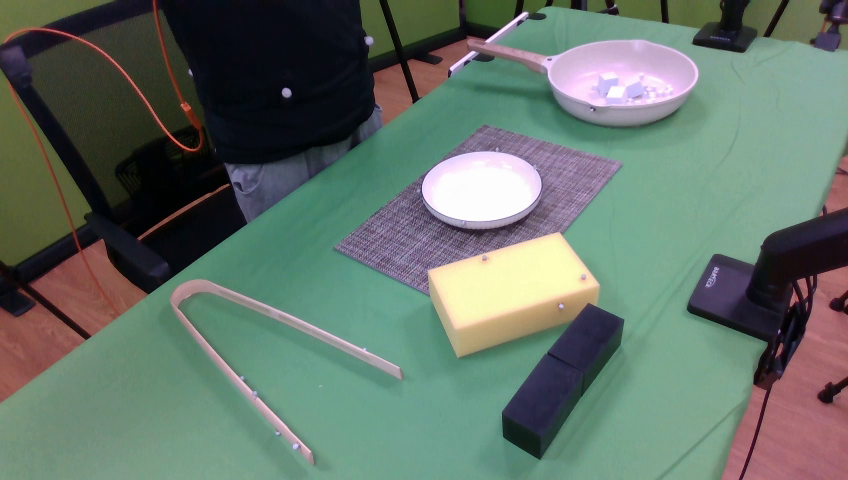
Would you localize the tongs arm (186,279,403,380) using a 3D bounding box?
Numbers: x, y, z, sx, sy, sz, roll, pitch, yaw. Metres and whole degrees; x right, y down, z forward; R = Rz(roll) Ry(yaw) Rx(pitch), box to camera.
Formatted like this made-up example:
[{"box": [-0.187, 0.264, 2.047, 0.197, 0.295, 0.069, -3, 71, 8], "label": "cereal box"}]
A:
[{"box": [-0.193, 0.120, 0.853, 0.385, 0.028, 0.028, 18, 49, 27], "label": "tongs arm"}]

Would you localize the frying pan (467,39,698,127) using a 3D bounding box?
[{"box": [0.312, -0.359, 1.277, 0.485, 0.103, 0.307, 23, 48, 19], "label": "frying pan"}]

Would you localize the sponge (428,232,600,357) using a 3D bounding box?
[{"box": [0.120, 0.071, 0.834, 0.207, 0.061, 0.117, -16, 43, -12], "label": "sponge"}]

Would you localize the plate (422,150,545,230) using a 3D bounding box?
[{"box": [0.101, -0.082, 1.031, 0.207, 0.039, 0.206, -4, 40, 4], "label": "plate"}]

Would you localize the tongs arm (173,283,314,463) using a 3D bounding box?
[{"box": [-0.246, 0.161, 0.806, 0.381, 0.026, 0.051, 29, 51, 36], "label": "tongs arm"}]
